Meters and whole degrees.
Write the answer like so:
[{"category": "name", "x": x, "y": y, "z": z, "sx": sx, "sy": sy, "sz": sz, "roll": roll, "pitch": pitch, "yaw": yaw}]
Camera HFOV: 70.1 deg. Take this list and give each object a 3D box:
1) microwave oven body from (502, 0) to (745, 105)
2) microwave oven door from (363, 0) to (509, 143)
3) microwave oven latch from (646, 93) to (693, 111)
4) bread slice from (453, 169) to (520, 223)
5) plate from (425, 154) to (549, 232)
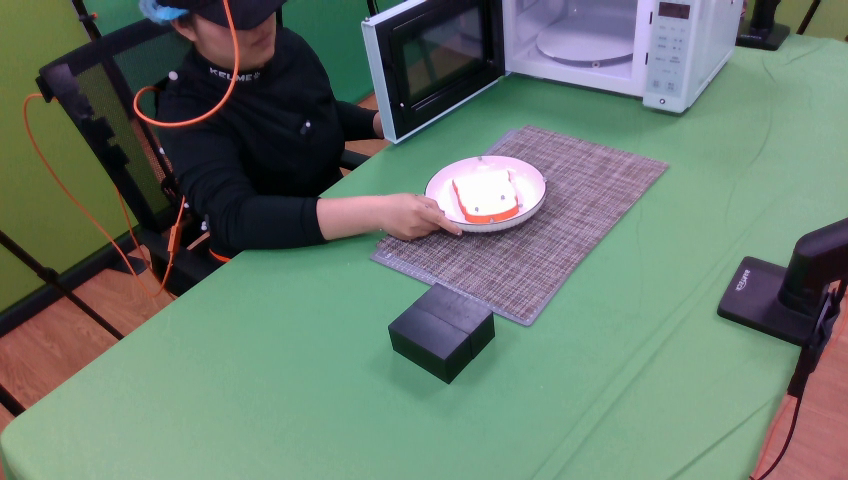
[{"category": "microwave oven body", "x": 0.416, "y": -0.486, "z": 1.290, "sx": 0.438, "sy": 0.261, "sz": 0.327, "roll": 21, "pitch": 50, "yaw": 33}, {"category": "microwave oven door", "x": 0.040, "y": -0.386, "z": 1.238, "sx": 0.357, "sy": 0.245, "sz": 0.039, "roll": -37, "pitch": 47, "yaw": -28}, {"category": "microwave oven latch", "x": 0.477, "y": -0.273, "z": 1.177, "sx": 0.078, "sy": 0.029, "sz": 0.030, "roll": 22, "pitch": 50, "yaw": 33}, {"category": "bread slice", "x": 0.111, "y": -0.077, "z": 1.037, "sx": 0.105, "sy": 0.019, "sz": 0.130, "roll": -10, "pitch": 39, "yaw": -1}, {"category": "plate", "x": 0.107, "y": -0.077, "z": 1.035, "sx": 0.209, "sy": 0.038, "sz": 0.208, "roll": -5, "pitch": 39, "yaw": 5}]
